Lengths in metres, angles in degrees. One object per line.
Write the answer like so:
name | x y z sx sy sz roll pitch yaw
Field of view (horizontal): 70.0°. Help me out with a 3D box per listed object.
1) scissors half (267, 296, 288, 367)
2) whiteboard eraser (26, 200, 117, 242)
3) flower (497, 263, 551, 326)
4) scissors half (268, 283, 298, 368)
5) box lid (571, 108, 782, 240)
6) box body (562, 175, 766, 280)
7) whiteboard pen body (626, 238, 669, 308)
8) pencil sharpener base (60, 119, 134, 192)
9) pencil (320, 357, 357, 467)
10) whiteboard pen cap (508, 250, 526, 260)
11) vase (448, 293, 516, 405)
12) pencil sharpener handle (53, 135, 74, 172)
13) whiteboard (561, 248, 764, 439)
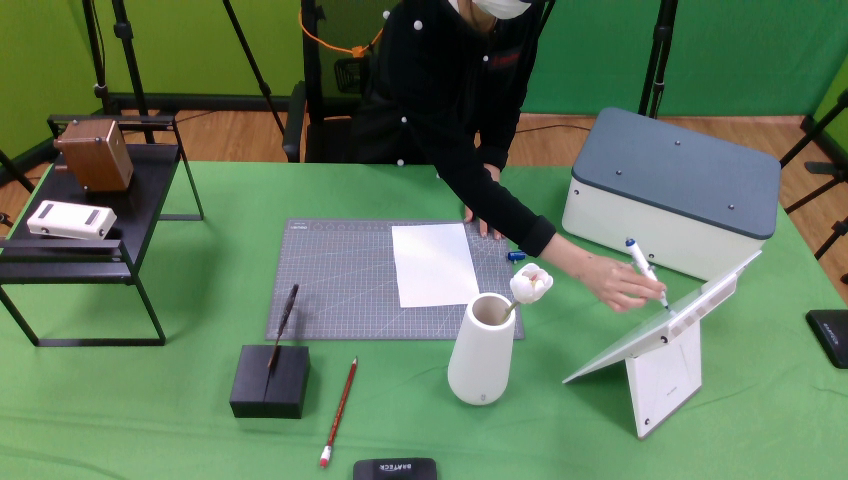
scissors half | -0.239 0.150 0.997 0.013 0.040 0.174 24 24 -13
whiteboard eraser | -0.532 -0.026 0.919 0.113 0.042 0.055 7 45 3
flower | 0.103 0.121 0.852 0.044 0.363 0.038 -2 63 -9
scissors half | -0.230 0.135 0.986 0.013 0.040 0.174 19 43 -11
box lid | 0.491 -0.139 1.168 0.370 0.015 0.262 21 49 15
box body | 0.486 -0.088 1.222 0.363 0.161 0.253 20 48 15
whiteboard pen body | 0.354 0.054 0.953 0.017 0.141 0.017 -31 18 12
pencil sharpener base | -0.528 -0.135 0.979 0.077 0.107 0.061 -4 47 -7
pencil | -0.130 0.261 0.947 0.012 0.012 0.193 10 45 5
whiteboard pen cap | 0.180 0.029 1.185 0.033 0.018 0.018 -4 47 -14
vase | 0.091 0.169 0.921 0.098 0.201 0.097 3 47 -3
pencil sharpener handle | -0.577 -0.138 0.961 0.031 0.068 0.036 -4 34 -7
whiteboard | 0.386 0.176 0.905 0.217 0.306 0.143 -26 72 -27
